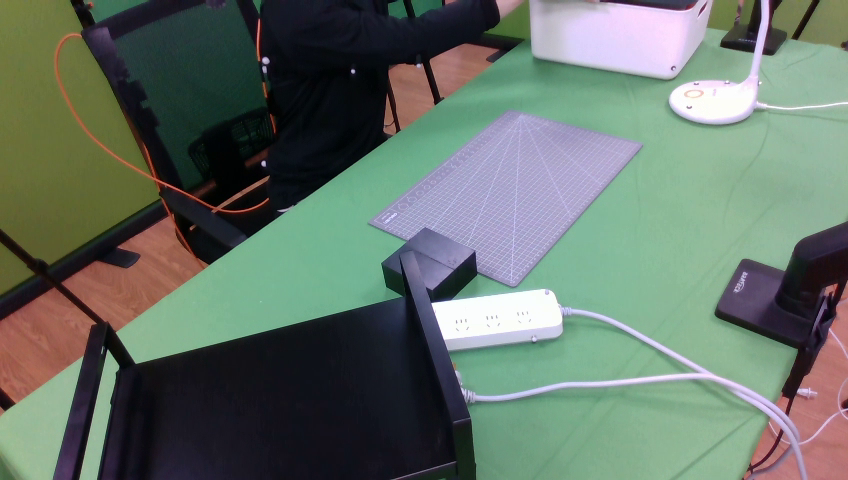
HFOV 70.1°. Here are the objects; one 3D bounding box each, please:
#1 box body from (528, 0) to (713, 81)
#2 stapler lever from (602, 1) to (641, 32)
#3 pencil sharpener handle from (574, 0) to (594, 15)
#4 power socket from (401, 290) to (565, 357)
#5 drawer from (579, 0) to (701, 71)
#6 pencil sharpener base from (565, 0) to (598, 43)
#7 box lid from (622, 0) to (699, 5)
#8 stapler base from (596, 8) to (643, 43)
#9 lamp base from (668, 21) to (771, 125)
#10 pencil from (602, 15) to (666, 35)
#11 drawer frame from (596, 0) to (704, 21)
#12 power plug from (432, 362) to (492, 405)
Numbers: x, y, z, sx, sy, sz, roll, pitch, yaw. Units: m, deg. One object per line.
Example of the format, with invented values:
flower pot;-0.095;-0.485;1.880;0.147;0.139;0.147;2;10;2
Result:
box body;0.450;-0.512;1.398;0.361;0.161;0.254;19;48;28
stapler lever;0.451;-0.517;1.380;0.118;0.040;0.026;-39;62;-19
pencil sharpener handle;0.400;-0.595;1.510;0.036;0.067;0.030;37;49;-4
power socket;0.080;0.112;0.821;0.227;0.033;0.072;-7;41;0
drawer;0.484;-0.489;1.363;0.210;0.073;0.194;24;62;21
pencil sharpener base;0.388;-0.549;1.483;0.061;0.107;0.077;12;45;22
box lid;0.429;-0.585;1.336;0.369;0.015;0.263;15;46;23
stapler base;0.453;-0.502;1.399;0.131;0.024;0.041;-38;62;-20
lamp base;0.577;-0.333;1.155;0.179;0.181;0.160;6;42;12
pencil;0.483;-0.494;1.390;0.195;0.012;0.012;-21;42;-21
drawer frame;0.488;-0.489;1.361;0.212;0.083;0.202;24;61;22
power plug;0.045;0.182;0.758;0.073;0.035;0.052;21;43;-18
